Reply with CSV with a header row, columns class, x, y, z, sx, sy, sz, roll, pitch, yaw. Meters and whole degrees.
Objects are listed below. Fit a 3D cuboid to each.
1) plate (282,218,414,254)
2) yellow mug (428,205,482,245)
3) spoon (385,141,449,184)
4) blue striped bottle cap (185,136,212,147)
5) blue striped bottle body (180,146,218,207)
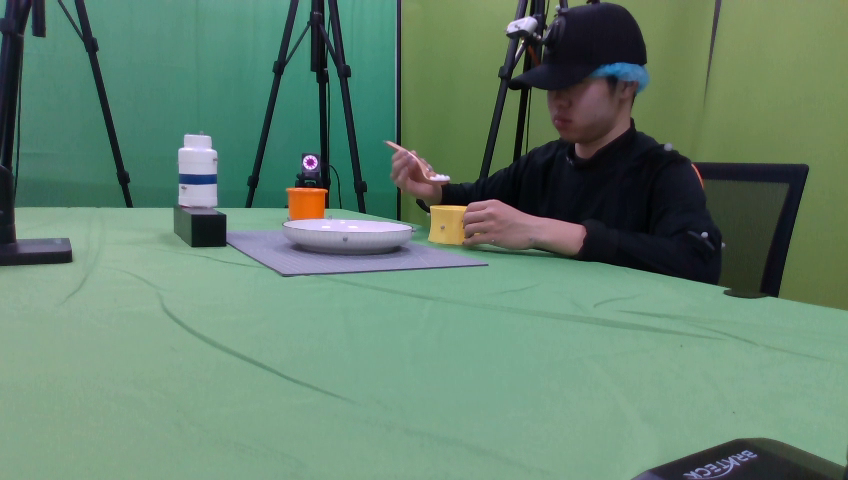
class,x,y,z,sx,sy,sz,roll,pitch,yaw
plate,-0.121,-0.007,0.971,0.208,0.039,0.207,2,7,0
yellow mug,0.063,-0.028,1.111,0.100,0.064,0.130,-1,8,-21
spoon,-0.018,-0.150,1.141,0.042,0.021,0.193,-10,39,-36
blue striped bottle cap,-0.390,-0.169,1.047,0.044,0.020,0.044,4,10,0
blue striped bottle body,-0.392,-0.118,1.053,0.063,0.120,0.063,2,8,0
